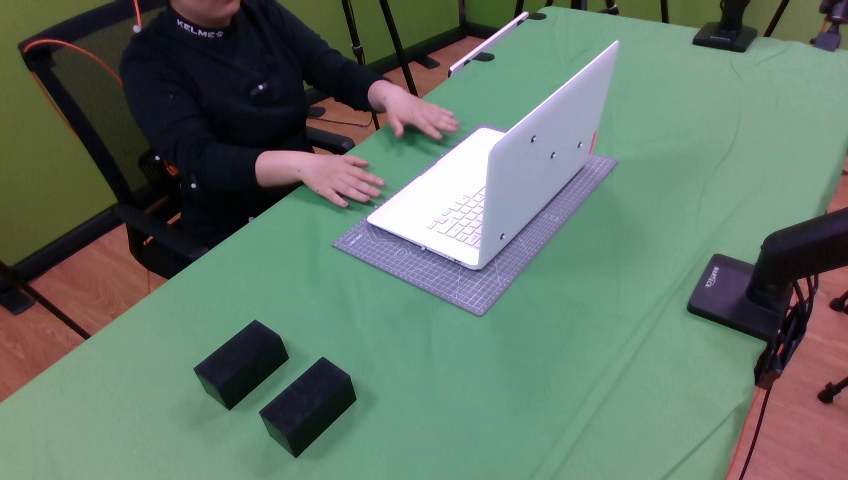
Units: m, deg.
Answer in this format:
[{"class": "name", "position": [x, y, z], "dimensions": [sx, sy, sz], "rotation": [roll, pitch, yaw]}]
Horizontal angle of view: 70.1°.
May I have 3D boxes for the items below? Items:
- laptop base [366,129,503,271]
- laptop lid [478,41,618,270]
[{"class": "laptop base", "position": [0.099, -0.085, 1.058], "dimensions": [0.233, 0.023, 0.355], "rotation": [21, 48, 34]}, {"class": "laptop lid", "position": [0.191, -0.130, 0.912], "dimensions": [0.013, 0.242, 0.358], "rotation": [29, 50, 26]}]
